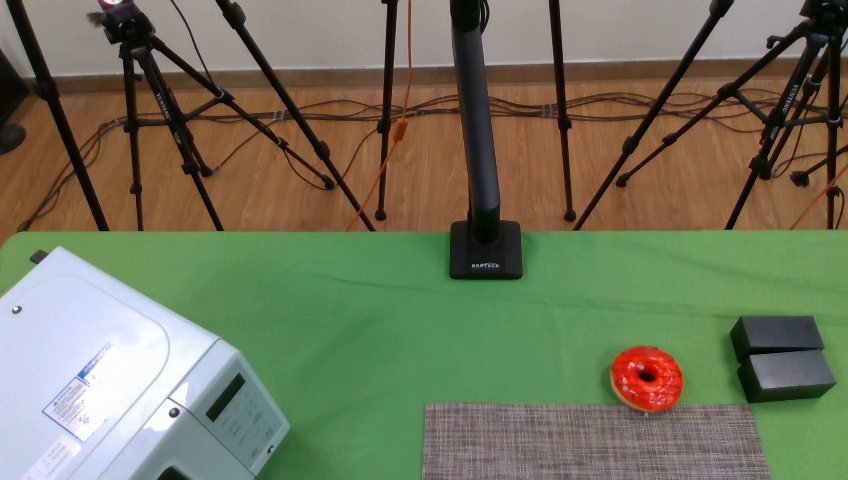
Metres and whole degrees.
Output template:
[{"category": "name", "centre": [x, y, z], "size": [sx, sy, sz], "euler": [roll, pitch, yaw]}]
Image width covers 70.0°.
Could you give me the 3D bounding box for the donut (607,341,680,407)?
[{"category": "donut", "centre": [0.307, 0.188, 0.849], "size": [0.099, 0.049, 0.098], "euler": [-4, 50, 6]}]

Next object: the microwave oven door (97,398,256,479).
[{"category": "microwave oven door", "centre": [-0.334, 0.358, 0.629], "size": [0.039, 0.246, 0.354], "euler": [23, 59, 21]}]

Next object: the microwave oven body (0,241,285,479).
[{"category": "microwave oven body", "centre": [-0.438, 0.276, 0.703], "size": [0.324, 0.262, 0.440], "euler": [24, 60, 20]}]

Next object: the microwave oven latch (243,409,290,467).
[{"category": "microwave oven latch", "centre": [-0.214, 0.262, 0.817], "size": [0.030, 0.030, 0.079], "euler": [26, 60, 21]}]
